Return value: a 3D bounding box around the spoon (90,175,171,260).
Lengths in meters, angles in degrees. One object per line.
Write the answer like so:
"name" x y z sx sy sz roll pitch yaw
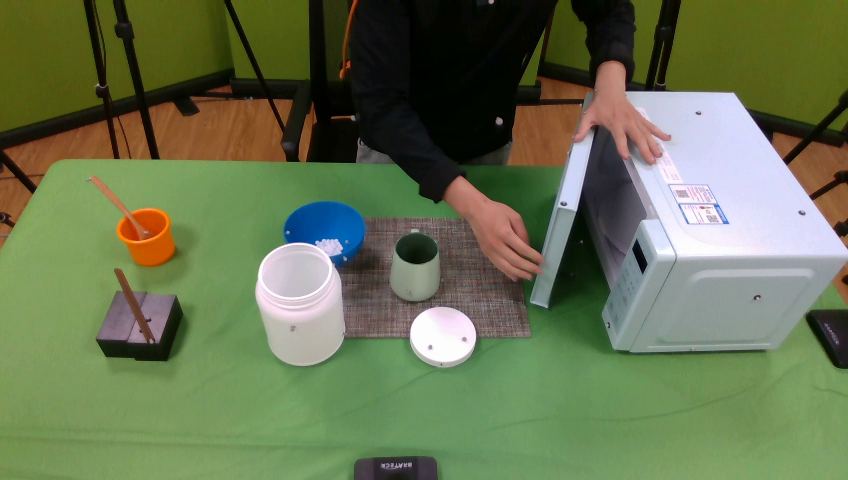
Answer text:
"spoon" -0.539 -0.042 1.112 0.041 0.194 0.021 -45 19 -32

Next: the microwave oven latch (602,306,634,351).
"microwave oven latch" 0.332 0.153 1.044 0.030 0.029 0.078 0 45 -4

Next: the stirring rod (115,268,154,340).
"stirring rod" -0.479 0.102 0.999 0.014 0.006 0.175 8 32 -49

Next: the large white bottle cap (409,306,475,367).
"large white bottle cap" 0.031 0.164 1.040 0.115 0.018 0.114 3 50 -3

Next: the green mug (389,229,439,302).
"green mug" -0.017 0.038 1.100 0.092 0.105 0.124 -1 46 -4

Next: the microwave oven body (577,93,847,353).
"microwave oven body" 0.475 -0.042 1.109 0.326 0.261 0.438 -1 45 -4

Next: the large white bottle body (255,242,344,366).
"large white bottle body" -0.196 0.102 0.967 0.131 0.185 0.130 2 49 -2

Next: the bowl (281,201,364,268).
"bowl" -0.187 0.005 1.138 0.151 0.077 0.150 3 46 -3

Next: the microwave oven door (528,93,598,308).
"microwave oven door" 0.264 -0.082 1.127 0.039 0.245 0.354 15 47 10
